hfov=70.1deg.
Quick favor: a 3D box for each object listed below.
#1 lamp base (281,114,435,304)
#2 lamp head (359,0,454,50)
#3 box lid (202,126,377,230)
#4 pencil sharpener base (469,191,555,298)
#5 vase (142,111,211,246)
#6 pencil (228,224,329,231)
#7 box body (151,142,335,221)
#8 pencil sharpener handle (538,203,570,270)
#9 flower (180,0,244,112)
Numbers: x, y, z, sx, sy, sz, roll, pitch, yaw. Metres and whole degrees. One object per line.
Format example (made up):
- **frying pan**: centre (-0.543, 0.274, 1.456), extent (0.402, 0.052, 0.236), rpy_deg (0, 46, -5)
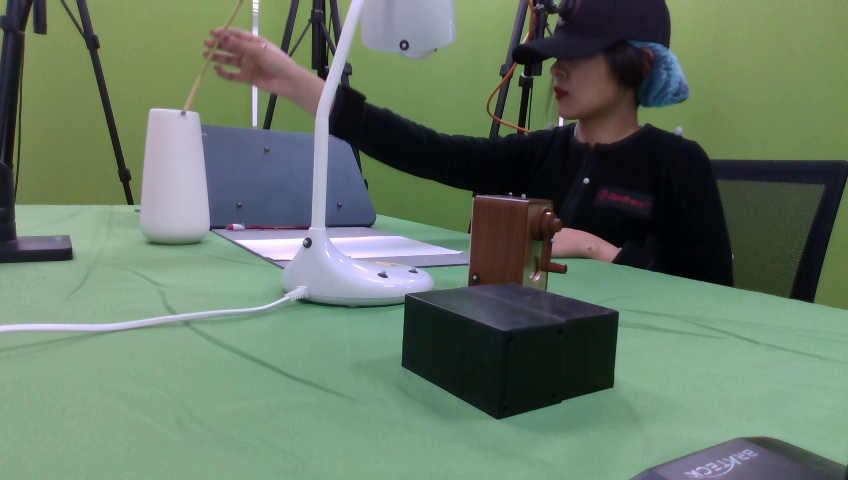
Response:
- **lamp base**: centre (-0.071, -0.035, 0.614), extent (0.160, 0.180, 0.180), rpy_deg (6, 10, 27)
- **lamp head**: centre (-0.024, -0.283, 0.674), extent (0.112, 0.123, 0.112), rpy_deg (-3, 38, 3)
- **box lid**: centre (-0.290, -0.128, 1.237), extent (0.373, 0.262, 0.015), rpy_deg (-2, -35, -32)
- **pencil sharpener base**: centre (0.097, 0.003, 0.652), extent (0.076, 0.107, 0.061), rpy_deg (8, 9, 38)
- **vase**: centre (-0.378, -0.093, 0.919), extent (0.098, 0.200, 0.098), rpy_deg (2, 9, 0)
- **pencil**: centre (-0.265, -0.023, 1.124), extent (0.195, 0.012, 0.012), rpy_deg (-1, 8, -32)
- **box body**: centre (-0.413, -0.134, 1.379), extent (0.366, 0.160, 0.253), rpy_deg (-2, 9, -31)
- **pencil sharpener handle**: centre (0.137, -0.003, 0.619), extent (0.030, 0.067, 0.036), rpy_deg (8, 5, 38)
- **flower**: centre (-0.317, -0.281, 0.910), extent (0.038, 0.361, 0.044), rpy_deg (29, -8, -30)
